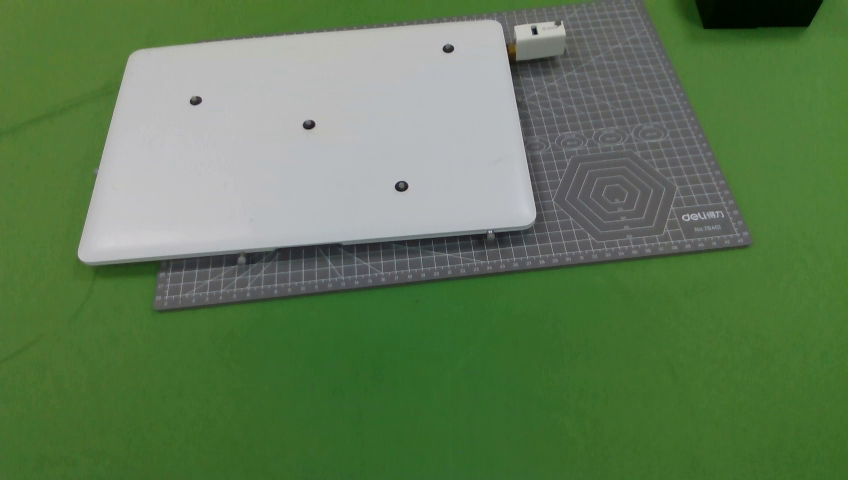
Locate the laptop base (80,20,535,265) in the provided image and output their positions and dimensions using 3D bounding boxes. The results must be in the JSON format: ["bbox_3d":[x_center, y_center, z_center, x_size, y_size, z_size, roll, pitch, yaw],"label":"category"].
[{"bbox_3d":[-0.096,-0.092,0.524,0.354,0.023,0.233,-5,61,0],"label":"laptop base"}]

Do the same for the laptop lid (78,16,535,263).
[{"bbox_3d":[-0.097,-0.096,0.512,0.357,0.013,0.239,-3,60,1],"label":"laptop lid"}]

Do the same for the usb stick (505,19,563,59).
[{"bbox_3d":[0.096,-0.183,0.554,0.059,0.027,0.021,-7,59,5],"label":"usb stick"}]
